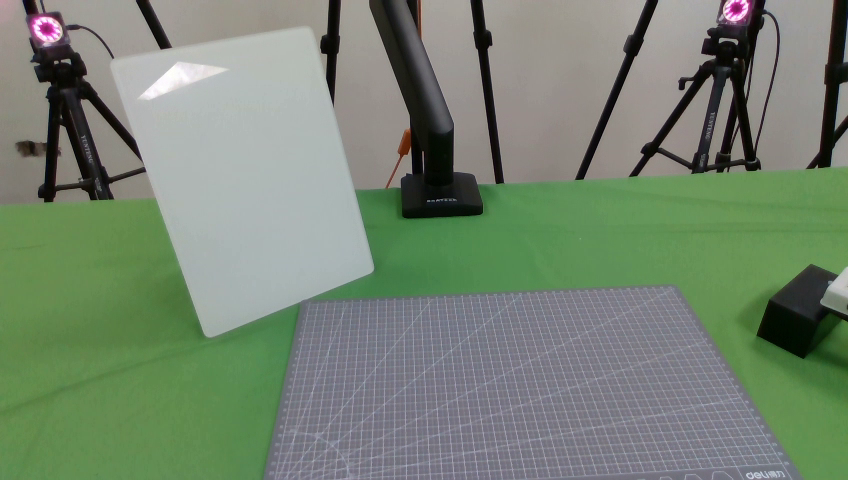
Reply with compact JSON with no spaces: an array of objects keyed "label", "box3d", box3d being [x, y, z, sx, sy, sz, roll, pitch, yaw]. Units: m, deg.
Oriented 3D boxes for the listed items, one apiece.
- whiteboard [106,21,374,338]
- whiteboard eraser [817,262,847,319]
[{"label":"whiteboard","box3d":[-0.218,-0.078,0.727,0.217,0.307,0.142,-22,19,-28]},{"label":"whiteboard eraser","box3d":[0.448,0.065,0.581,0.055,0.042,0.111,-28,39,-32]}]
